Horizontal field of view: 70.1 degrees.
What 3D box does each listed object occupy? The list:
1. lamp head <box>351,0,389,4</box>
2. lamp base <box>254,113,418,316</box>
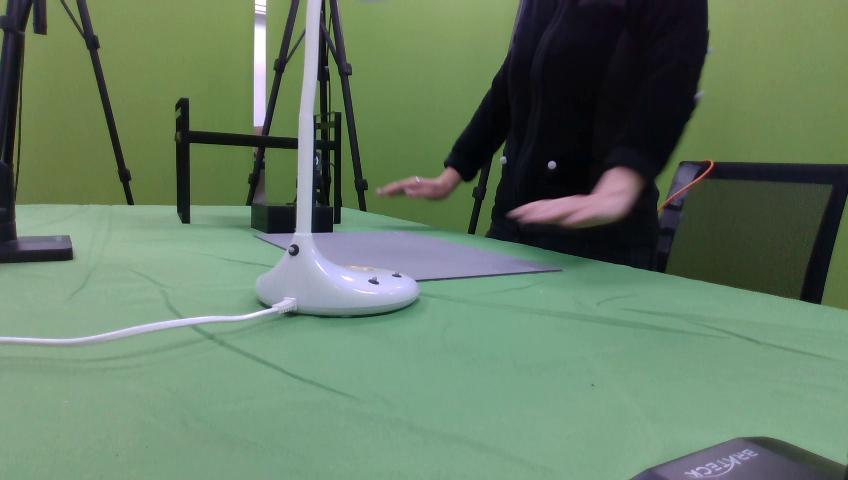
[{"bbox_3d":[-0.053,-0.313,0.597,0.112,0.112,0.123,6,-28,25],"label":"lamp head"},{"bbox_3d":[-0.086,-0.027,0.577,0.160,0.180,0.179,4,10,16],"label":"lamp base"}]
